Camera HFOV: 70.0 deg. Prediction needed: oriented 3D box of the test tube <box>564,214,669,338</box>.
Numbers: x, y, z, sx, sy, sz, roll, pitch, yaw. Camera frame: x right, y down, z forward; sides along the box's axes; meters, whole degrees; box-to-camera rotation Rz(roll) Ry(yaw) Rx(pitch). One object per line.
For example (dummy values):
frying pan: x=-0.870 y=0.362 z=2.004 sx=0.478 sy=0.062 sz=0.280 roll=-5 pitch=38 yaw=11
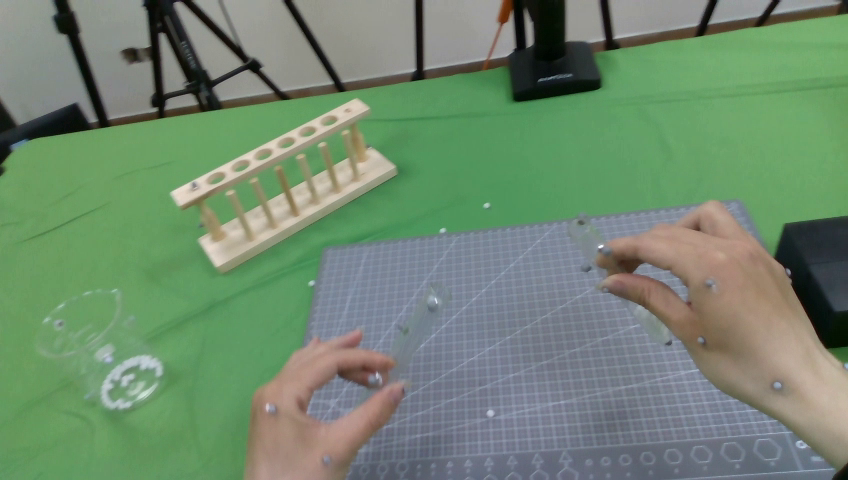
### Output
test tube: x=0.136 y=0.030 z=0.417 sx=0.017 sy=0.152 sz=0.017 roll=-26 pitch=42 yaw=26

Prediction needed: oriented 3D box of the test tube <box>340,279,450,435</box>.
test tube: x=-0.024 y=0.085 z=0.417 sx=0.017 sy=0.151 sz=0.017 roll=24 pitch=29 yaw=-14

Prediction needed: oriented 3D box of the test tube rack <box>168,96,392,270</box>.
test tube rack: x=-0.162 y=-0.072 z=0.716 sx=0.242 sy=0.086 sz=0.066 roll=-32 pitch=47 yaw=-18

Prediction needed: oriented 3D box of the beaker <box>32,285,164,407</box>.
beaker: x=-0.295 y=0.101 z=0.565 sx=0.073 sy=0.101 sz=0.083 roll=14 pitch=50 yaw=26
